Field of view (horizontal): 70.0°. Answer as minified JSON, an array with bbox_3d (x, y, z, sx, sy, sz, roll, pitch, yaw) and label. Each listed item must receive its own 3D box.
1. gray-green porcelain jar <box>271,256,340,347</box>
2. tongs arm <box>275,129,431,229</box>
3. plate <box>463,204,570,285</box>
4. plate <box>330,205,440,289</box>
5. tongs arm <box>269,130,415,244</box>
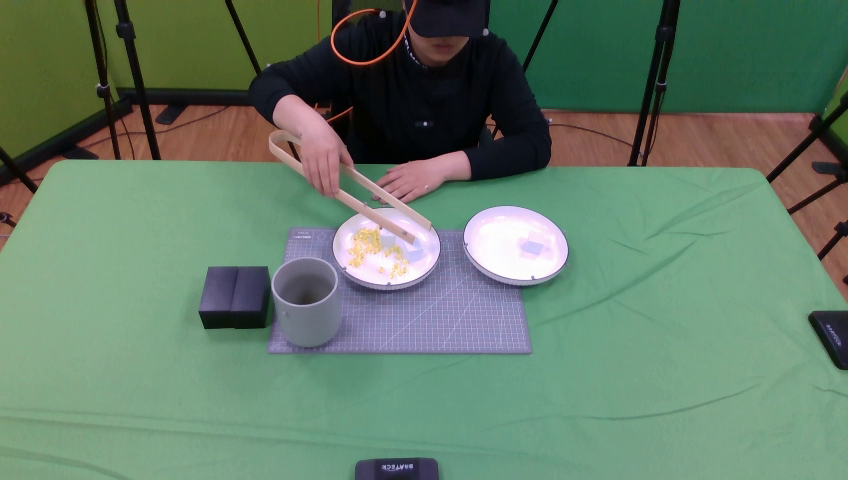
[{"bbox_3d":[-0.193,0.107,1.004,0.106,0.127,0.105,2,46,-2],"label":"gray-green porcelain jar"},{"bbox_3d":[-0.144,-0.125,1.195,0.386,0.028,0.028,33,55,18],"label":"tongs arm"},{"bbox_3d":[0.178,0.012,1.184,0.209,0.038,0.208,3,46,-3],"label":"plate"},{"bbox_3d":[-0.074,0.017,1.160,0.208,0.039,0.206,2,46,-2],"label":"plate"},{"bbox_3d":[-0.163,-0.108,1.175,0.383,0.026,0.050,31,51,17],"label":"tongs arm"}]
